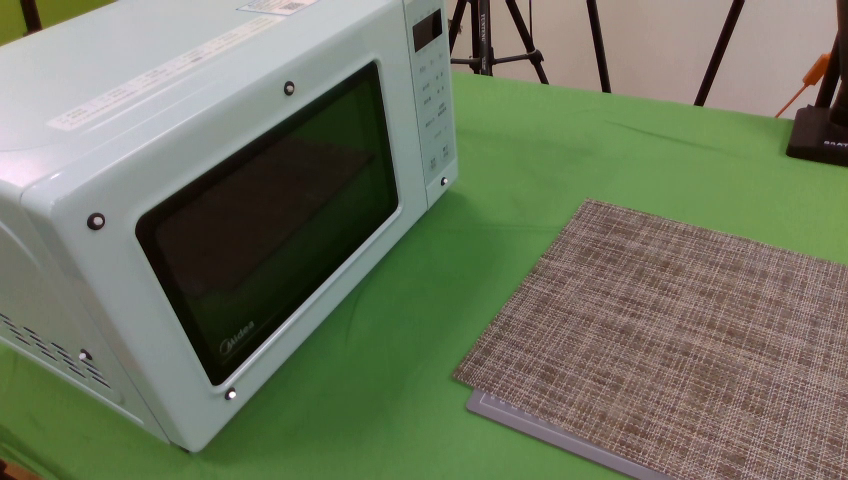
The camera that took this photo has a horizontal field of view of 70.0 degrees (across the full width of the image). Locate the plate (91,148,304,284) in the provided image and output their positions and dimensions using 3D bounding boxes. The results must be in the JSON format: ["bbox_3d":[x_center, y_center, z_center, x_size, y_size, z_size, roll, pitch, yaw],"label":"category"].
[{"bbox_3d":[-0.223,-0.025,0.615,0.209,0.038,0.207,-5,39,4],"label":"plate"}]

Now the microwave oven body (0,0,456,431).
[{"bbox_3d":[-0.215,-0.088,0.609,0.324,0.263,0.440,17,45,26],"label":"microwave oven body"}]

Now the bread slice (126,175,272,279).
[{"bbox_3d":[-0.225,-0.023,0.620,0.104,0.019,0.131,26,52,33],"label":"bread slice"}]

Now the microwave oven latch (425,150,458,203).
[{"bbox_3d":[0.012,-0.077,0.717,0.030,0.030,0.079,18,45,27],"label":"microwave oven latch"}]

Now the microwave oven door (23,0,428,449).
[{"bbox_3d":[-0.112,-0.031,0.514,0.039,0.246,0.354,16,44,27],"label":"microwave oven door"}]
